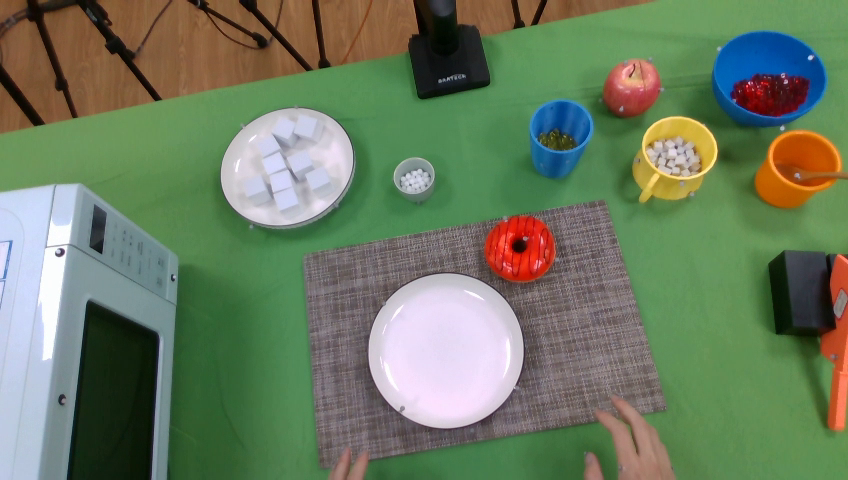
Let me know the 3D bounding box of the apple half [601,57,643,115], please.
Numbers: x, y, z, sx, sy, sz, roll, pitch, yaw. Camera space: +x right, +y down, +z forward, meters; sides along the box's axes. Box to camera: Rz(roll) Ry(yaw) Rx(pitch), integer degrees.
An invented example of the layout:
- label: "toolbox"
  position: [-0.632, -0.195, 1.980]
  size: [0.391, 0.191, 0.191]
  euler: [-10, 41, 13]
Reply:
- label: "apple half"
  position: [0.292, -0.226, 0.903]
  size: [0.053, 0.075, 0.080]
  euler: [-6, 71, 7]

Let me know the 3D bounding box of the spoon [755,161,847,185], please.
- label: "spoon"
  position: [0.523, -0.084, 0.781]
  size: [0.022, 0.192, 0.041]
  euler: [46, 76, -25]

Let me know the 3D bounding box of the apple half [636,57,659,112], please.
- label: "apple half"
  position: [0.330, -0.230, 0.899]
  size: [0.033, 0.082, 0.080]
  euler: [-6, 68, 8]

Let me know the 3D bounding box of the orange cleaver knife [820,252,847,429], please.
- label: "orange cleaver knife"
  position: [0.503, 0.121, 0.739]
  size: [0.012, 0.077, 0.212]
  euler: [3, 99, 10]

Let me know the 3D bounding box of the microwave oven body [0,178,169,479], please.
- label: "microwave oven body"
  position: [-0.513, 0.192, 0.723]
  size: [0.326, 0.262, 0.438]
  euler: [-7, 69, 3]

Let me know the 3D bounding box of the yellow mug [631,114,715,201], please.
- label: "yellow mug"
  position: [0.340, -0.107, 0.855]
  size: [0.099, 0.064, 0.130]
  euler: [36, 78, 18]

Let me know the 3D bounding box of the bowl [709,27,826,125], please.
- label: "bowl"
  position: [0.483, -0.222, 0.878]
  size: [0.151, 0.077, 0.150]
  euler: [-2, 69, 6]

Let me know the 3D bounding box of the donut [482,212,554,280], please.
- label: "donut"
  position: [0.130, 0.008, 0.841]
  size: [0.099, 0.048, 0.098]
  euler: [-2, 71, 6]

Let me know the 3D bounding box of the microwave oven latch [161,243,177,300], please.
- label: "microwave oven latch"
  position: [-0.373, 0.046, 0.869]
  size: [0.030, 0.030, 0.078]
  euler: [-6, 69, 3]

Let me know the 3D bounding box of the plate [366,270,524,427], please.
- label: "plate"
  position: [0.028, 0.142, 0.803]
  size: [0.209, 0.038, 0.207]
  euler: [-2, 69, 6]

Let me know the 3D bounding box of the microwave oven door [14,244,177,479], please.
- label: "microwave oven door"
  position: [-0.365, 0.210, 0.694]
  size: [0.039, 0.245, 0.353]
  euler: [-8, 68, 4]

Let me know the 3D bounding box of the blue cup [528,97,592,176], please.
- label: "blue cup"
  position: [0.189, -0.140, 0.866]
  size: [0.092, 0.101, 0.092]
  euler: [-2, 70, 5]

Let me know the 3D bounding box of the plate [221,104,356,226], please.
- label: "plate"
  position: [-0.205, -0.112, 0.933]
  size: [0.207, 0.039, 0.206]
  euler: [-2, 68, 6]

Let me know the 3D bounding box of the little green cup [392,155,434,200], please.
- label: "little green cup"
  position: [-0.014, -0.091, 0.903]
  size: [0.061, 0.039, 0.061]
  euler: [-2, 68, 6]
